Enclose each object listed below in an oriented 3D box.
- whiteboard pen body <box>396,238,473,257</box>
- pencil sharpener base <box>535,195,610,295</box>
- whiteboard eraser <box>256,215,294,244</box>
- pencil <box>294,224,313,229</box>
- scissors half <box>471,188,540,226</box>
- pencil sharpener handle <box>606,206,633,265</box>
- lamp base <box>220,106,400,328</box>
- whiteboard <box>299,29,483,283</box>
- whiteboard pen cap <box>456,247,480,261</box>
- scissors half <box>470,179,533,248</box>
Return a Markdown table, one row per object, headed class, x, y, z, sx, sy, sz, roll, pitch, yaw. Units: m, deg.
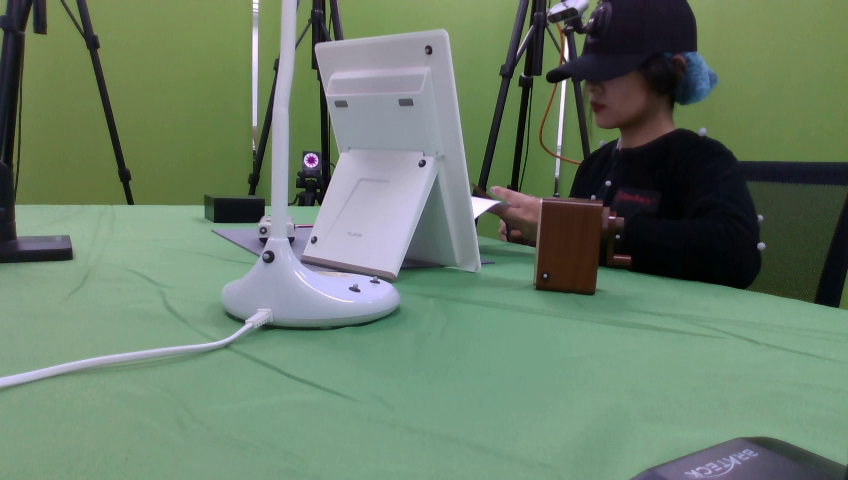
| class | x | y | z | sx | sy | sz | roll | pitch | yaw |
| --- | --- | --- | --- | --- | --- | --- | --- | --- | --- |
| whiteboard pen body | 0.014 | 0.012 | 0.885 | 0.140 | 0.017 | 0.017 | 9 | 10 | 38 |
| pencil sharpener base | 0.172 | 0.005 | 0.695 | 0.076 | 0.107 | 0.061 | 5 | 7 | 16 |
| whiteboard eraser | -0.232 | -0.016 | 0.951 | 0.056 | 0.042 | 0.112 | 2 | 7 | -12 |
| pencil | -0.221 | -0.028 | 1.211 | 0.195 | 0.012 | 0.012 | -5 | 10 | -34 |
| scissors half | 0.152 | -0.067 | 1.119 | 0.176 | 0.040 | 0.013 | 19 | -7 | -22 |
| pencil sharpener handle | 0.223 | -0.004 | 0.683 | 0.030 | 0.068 | 0.036 | 5 | 21 | 17 |
| lamp base | -0.101 | -0.023 | 0.531 | 0.160 | 0.180 | 0.179 | 4 | 10 | 10 |
| whiteboard | -0.074 | -0.082 | 0.742 | 0.216 | 0.305 | 0.144 | 9 | 30 | 38 |
| whiteboard pen cap | 0.061 | 0.020 | 0.851 | 0.033 | 0.018 | 0.018 | 10 | 11 | 38 |
| scissors half | 0.141 | -0.048 | 1.115 | 0.040 | 0.175 | 0.012 | -45 | 17 | -12 |
